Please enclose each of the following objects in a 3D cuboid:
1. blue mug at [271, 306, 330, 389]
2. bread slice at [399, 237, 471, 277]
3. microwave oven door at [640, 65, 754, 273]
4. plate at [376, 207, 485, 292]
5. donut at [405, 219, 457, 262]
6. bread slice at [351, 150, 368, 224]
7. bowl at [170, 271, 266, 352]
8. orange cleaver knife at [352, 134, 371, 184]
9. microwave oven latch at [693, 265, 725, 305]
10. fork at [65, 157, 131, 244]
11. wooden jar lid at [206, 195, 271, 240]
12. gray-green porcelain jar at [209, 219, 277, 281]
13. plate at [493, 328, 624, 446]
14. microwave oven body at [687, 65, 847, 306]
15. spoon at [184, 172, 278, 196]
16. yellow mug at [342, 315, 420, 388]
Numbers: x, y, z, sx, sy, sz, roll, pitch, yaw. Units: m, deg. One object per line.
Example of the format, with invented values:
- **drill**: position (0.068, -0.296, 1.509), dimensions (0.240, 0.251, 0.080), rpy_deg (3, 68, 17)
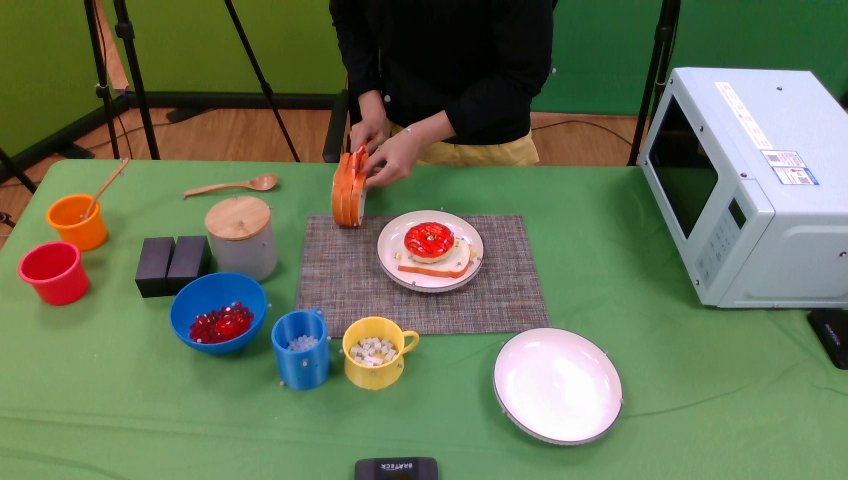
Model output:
- **blue mug**: position (-0.188, 0.163, 0.969), dimensions (0.082, 0.106, 0.116), rpy_deg (15, 47, 10)
- **bread slice**: position (0.025, 0.025, 1.160), dimensions (0.131, 0.019, 0.104), rpy_deg (6, 47, 7)
- **microwave oven door**: position (0.523, -0.147, 1.193), dimensions (0.039, 0.245, 0.353), rpy_deg (0, 47, -3)
- **plate**: position (0.012, 0.021, 1.158), dimensions (0.209, 0.038, 0.208), rpy_deg (2, 47, -2)
- **donut**: position (0.012, 0.000, 1.140), dimensions (0.099, 0.048, 0.098), rpy_deg (0, 44, 0)
- **bread slice**: position (-0.130, -0.098, 1.225), dimensions (0.018, 0.107, 0.133), rpy_deg (4, 50, 1)
- **bowl**: position (-0.334, 0.132, 1.006), dimensions (0.151, 0.077, 0.150), rpy_deg (2, 46, -2)
- **orange cleaver knife**: position (-0.130, -0.170, 1.264), dimensions (0.012, 0.077, 0.210), rpy_deg (2, 24, 3)
- **microwave oven latch**: position (0.522, 0.081, 1.115), dimensions (0.030, 0.029, 0.078), rpy_deg (2, 46, -1)
- **fork**: position (-0.608, -0.074, 1.132), dimensions (0.207, 0.019, 0.028), rpy_deg (-52, 48, 10)
- **wooden jar lid**: position (-0.319, -0.036, 1.046), dimensions (0.108, 0.021, 0.107), rpy_deg (1, 44, 0)
- **gray-green porcelain jar**: position (-0.323, 0.007, 1.092), dimensions (0.106, 0.127, 0.105), rpy_deg (2, 46, -2)
- **plate**: position (0.213, 0.236, 0.974), dimensions (0.208, 0.039, 0.206), rpy_deg (2, 46, -2)
- **microwave oven body**: position (0.669, -0.111, 1.176), dimensions (0.326, 0.261, 0.439), rpy_deg (0, 46, -3)
- **spoon**: position (-0.405, -0.116, 1.275), dimensions (0.194, 0.022, 0.041), rpy_deg (-8, 66, -12)
- **yellow mug**: position (-0.068, 0.177, 0.990), dimensions (0.131, 0.064, 0.099), rpy_deg (-15, 50, -19)
